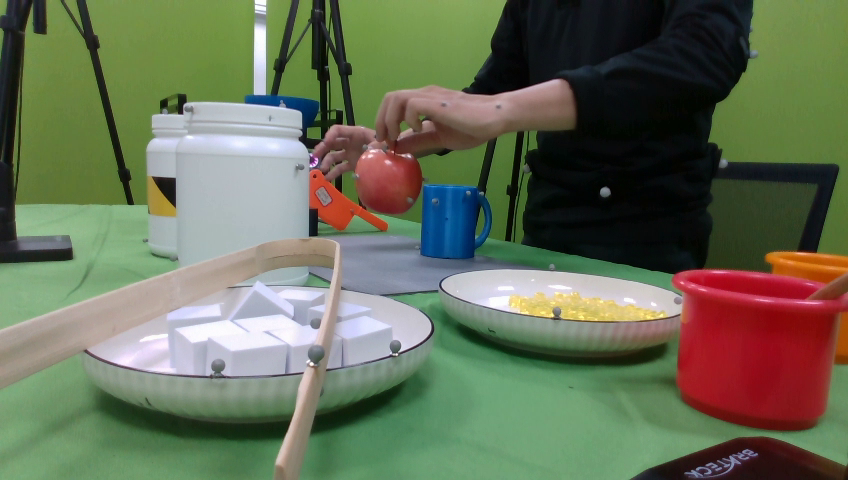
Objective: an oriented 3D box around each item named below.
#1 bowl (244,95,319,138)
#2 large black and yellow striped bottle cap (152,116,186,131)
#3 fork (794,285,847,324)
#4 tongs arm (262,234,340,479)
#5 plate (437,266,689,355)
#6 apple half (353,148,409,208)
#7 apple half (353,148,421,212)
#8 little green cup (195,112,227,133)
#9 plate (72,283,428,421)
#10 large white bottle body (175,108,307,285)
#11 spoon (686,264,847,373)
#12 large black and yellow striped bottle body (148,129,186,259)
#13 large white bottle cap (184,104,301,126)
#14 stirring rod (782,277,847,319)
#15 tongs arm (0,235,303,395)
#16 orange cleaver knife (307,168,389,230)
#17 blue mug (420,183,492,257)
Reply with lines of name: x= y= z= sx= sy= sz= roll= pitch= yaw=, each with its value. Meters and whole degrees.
bowl: x=-0.293 y=-0.251 z=1.249 sx=0.151 sy=0.077 sz=0.151 roll=2 pitch=7 yaw=0
large black and yellow striped bottle cap: x=-0.309 y=-0.156 z=0.826 sx=0.115 sy=0.019 sz=0.115 roll=3 pitch=6 yaw=0
fork: x=0.332 y=0.018 z=0.443 sx=0.028 sy=0.018 sz=0.207 roll=-1 pitch=-36 yaw=-15
tongs arm: x=-0.074 y=0.039 z=0.349 sx=0.051 sy=0.026 sz=0.384 roll=-2 pitch=10 yaw=-3
plate: x=0.113 y=0.057 z=0.517 sx=0.209 sy=0.038 sz=0.209 roll=3 pitch=7 yaw=0
apple half: x=-0.059 y=-0.078 z=0.740 sx=0.082 sy=0.081 sz=0.032 roll=-3 pitch=22 yaw=-35
apple half: x=-0.039 y=-0.069 z=0.711 sx=0.081 sy=0.074 sz=0.053 roll=6 pitch=16 yaw=-35
little green cup: x=-0.412 y=-0.227 z=1.171 sx=0.061 sy=0.038 sz=0.061 roll=3 pitch=8 yaw=0
plate: x=-0.102 y=0.066 z=0.381 sx=0.208 sy=0.039 sz=0.207 roll=2 pitch=7 yaw=0
large white bottle body: x=-0.188 y=-0.042 z=0.630 sx=0.131 sy=0.184 sz=0.130 roll=2 pitch=8 yaw=0
spoon: x=0.214 y=0.032 z=0.328 sx=0.042 sy=0.021 sz=0.193 roll=-3 pitch=-35 yaw=-26
large black and yellow striped bottle body: x=-0.310 y=-0.073 z=0.838 sx=0.131 sy=0.184 sz=0.130 roll=2 pitch=8 yaw=0
large white bottle cap: x=-0.184 y=-0.126 z=0.618 sx=0.115 sy=0.018 sz=0.115 roll=2 pitch=8 yaw=0
stirring rod: x=0.344 y=0.019 z=0.460 sx=0.014 sy=0.006 sz=0.176 roll=-13 pitch=-27 yaw=-30
tongs arm: x=-0.157 y=0.038 z=0.351 sx=0.028 sy=0.028 sz=0.388 roll=-3 pitch=9 yaw=12
orange cleaver knife: x=-0.158 y=-0.060 z=1.166 sx=0.212 sy=0.077 sz=0.012 roll=34 pitch=-12 yaw=-32
blue mug: x=0.052 y=-0.032 z=0.912 sx=0.117 sy=0.106 sz=0.082 roll=-1 pitch=8 yaw=-24
